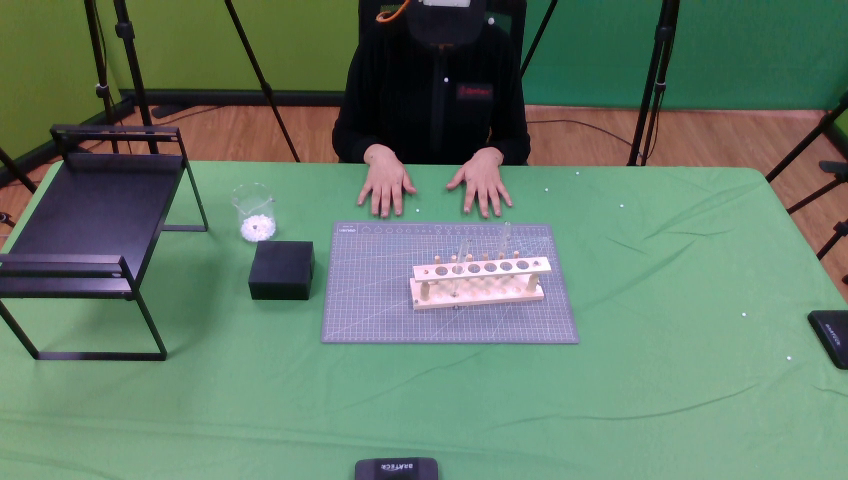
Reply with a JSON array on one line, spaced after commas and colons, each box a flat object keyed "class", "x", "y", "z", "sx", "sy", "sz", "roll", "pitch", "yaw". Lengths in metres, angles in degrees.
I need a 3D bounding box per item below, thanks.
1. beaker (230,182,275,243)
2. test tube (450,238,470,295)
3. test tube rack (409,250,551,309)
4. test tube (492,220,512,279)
[{"class": "beaker", "x": -0.328, "y": -0.049, "z": 1.166, "sx": 0.074, "sy": 0.101, "sz": 0.083, "roll": 2, "pitch": 47, "yaw": -2}, {"class": "test tube", "x": 0.060, "y": 0.048, "z": 1.040, "sx": 0.017, "sy": 0.151, "sz": 0.017, "roll": 3, "pitch": 51, "yaw": -4}, {"class": "test tube rack", "x": 0.098, "y": 0.065, "z": 1.096, "sx": 0.243, "sy": 0.085, "sz": 0.066, "roll": -4, "pitch": 47, "yaw": -8}, {"class": "test tube", "x": 0.139, "y": 0.018, "z": 1.082, "sx": 0.017, "sy": 0.151, "sz": 0.017, "roll": 2, "pitch": 47, "yaw": -2}]
